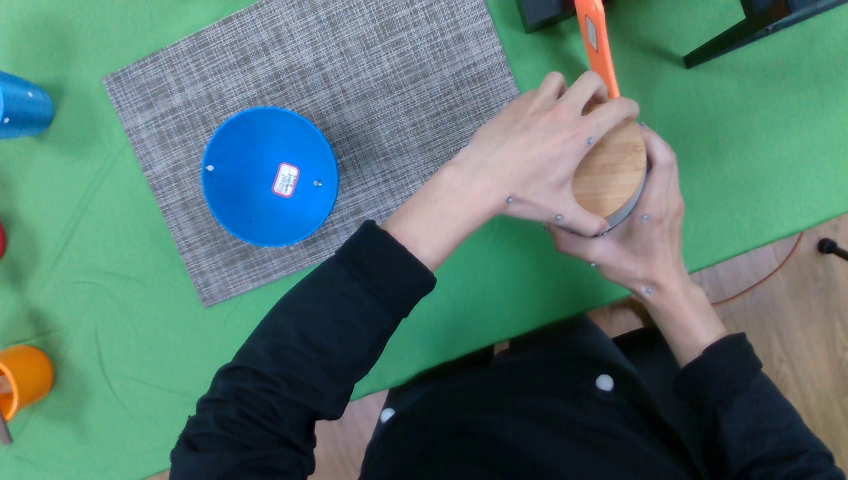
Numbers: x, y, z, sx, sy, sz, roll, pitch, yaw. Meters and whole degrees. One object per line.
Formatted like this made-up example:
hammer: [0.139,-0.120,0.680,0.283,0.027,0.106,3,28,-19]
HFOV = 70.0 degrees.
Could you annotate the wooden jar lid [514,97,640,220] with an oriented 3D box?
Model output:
wooden jar lid: [0.132,-0.069,0.527,0.108,0.021,0.108,-5,80,26]

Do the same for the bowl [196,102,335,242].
bowl: [-0.167,-0.076,0.682,0.151,0.076,0.151,1,98,5]

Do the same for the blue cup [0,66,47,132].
blue cup: [-0.491,-0.161,0.690,0.092,0.100,0.093,0,98,3]

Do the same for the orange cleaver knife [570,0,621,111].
orange cleaver knife: [0.185,-0.178,0.640,0.012,0.076,0.213,-25,124,4]

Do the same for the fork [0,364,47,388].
fork: [-0.571,0.179,0.720,0.208,0.018,0.028,-8,109,-38]

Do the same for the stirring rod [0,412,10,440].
stirring rod: [-0.526,0.153,0.711,0.014,0.006,0.176,-17,97,4]

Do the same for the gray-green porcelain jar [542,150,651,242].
gray-green porcelain jar: [0.160,-0.056,0.582,0.105,0.127,0.105,-5,77,25]
